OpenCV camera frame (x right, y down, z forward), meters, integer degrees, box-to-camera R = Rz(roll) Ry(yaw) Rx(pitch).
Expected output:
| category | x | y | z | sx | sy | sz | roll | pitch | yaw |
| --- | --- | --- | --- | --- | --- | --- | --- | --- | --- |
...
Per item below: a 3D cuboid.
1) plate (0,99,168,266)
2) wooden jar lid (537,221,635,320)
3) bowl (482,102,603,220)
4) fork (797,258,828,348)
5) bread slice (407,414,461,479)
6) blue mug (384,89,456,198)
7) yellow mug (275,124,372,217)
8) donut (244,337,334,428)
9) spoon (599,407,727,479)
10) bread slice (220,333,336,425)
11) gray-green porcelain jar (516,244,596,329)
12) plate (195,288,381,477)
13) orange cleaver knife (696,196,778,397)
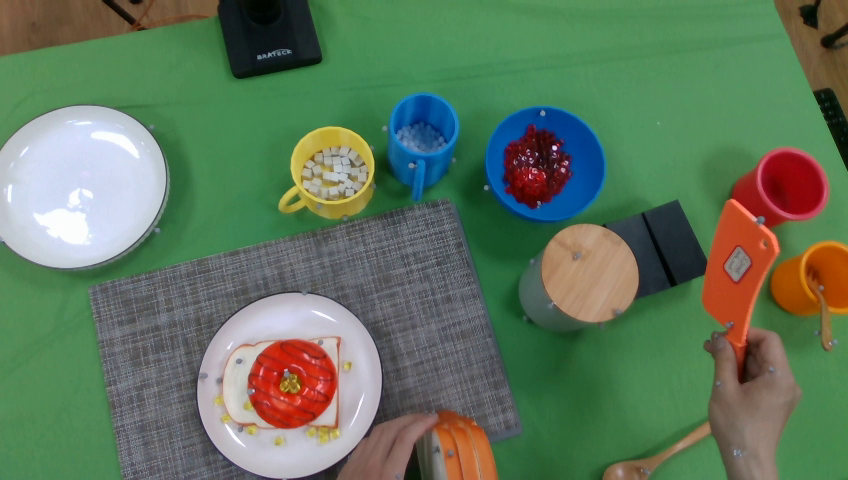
| category | x | y | z | sx | sy | sz | roll | pitch | yaw |
| --- | --- | --- | --- | --- | --- | --- | --- | --- | --- |
| plate | -0.415 | -0.068 | 0.732 | 0.208 | 0.039 | 0.206 | 1 | 76 | -5 |
| wooden jar lid | 0.173 | 0.033 | 0.654 | 0.108 | 0.021 | 0.108 | 2 | 78 | -8 |
| bowl | 0.142 | -0.089 | 0.771 | 0.151 | 0.077 | 0.150 | 1 | 77 | -5 |
| fork | 0.468 | 0.071 | 0.727 | 0.028 | 0.018 | 0.207 | 49 | 33 | 0 |
| bread slice | 0.011 | 0.240 | 0.650 | 0.018 | 0.134 | 0.106 | -7 | 76 | -16 |
| blue mug | -0.009 | -0.109 | 0.747 | 0.082 | 0.106 | 0.116 | 5 | 76 | -4 |
| yellow mug | -0.128 | -0.076 | 0.748 | 0.131 | 0.064 | 0.099 | -36 | 82 | -11 |
| donut | -0.149 | 0.156 | 0.671 | 0.099 | 0.048 | 0.098 | 2 | 78 | -8 |
| spoon | 0.293 | 0.251 | 0.732 | 0.194 | 0.022 | 0.041 | -26 | 62 | -11 |
| bread slice | -0.167 | 0.163 | 0.700 | 0.132 | 0.019 | 0.104 | -1 | 76 | -10 |
| gray-green porcelain jar | 0.169 | 0.049 | 0.715 | 0.106 | 0.127 | 0.105 | 1 | 76 | -5 |
| plate | -0.153 | 0.160 | 0.698 | 0.209 | 0.038 | 0.208 | 1 | 76 | -5 |
| orange cleaver knife | 0.295 | 0.060 | 0.591 | 0.012 | 0.076 | 0.213 | -15 | 122 | -15 |
